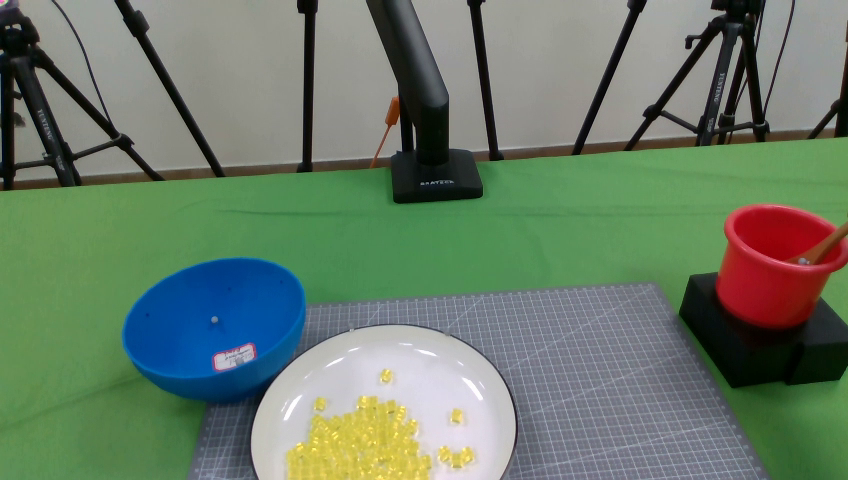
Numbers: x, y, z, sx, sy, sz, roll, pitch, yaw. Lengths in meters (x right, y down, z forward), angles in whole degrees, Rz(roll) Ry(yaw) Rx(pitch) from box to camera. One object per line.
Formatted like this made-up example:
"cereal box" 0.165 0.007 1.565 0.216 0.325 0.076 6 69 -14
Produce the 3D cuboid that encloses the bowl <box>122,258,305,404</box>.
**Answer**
"bowl" -0.177 0.092 0.540 0.151 0.077 0.150 -1 36 1

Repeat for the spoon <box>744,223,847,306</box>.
"spoon" 0.341 -0.004 0.486 0.022 0.194 0.041 28 42 -7

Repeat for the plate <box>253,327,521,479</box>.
"plate" -0.028 0.154 0.485 0.208 0.039 0.205 -1 36 1
